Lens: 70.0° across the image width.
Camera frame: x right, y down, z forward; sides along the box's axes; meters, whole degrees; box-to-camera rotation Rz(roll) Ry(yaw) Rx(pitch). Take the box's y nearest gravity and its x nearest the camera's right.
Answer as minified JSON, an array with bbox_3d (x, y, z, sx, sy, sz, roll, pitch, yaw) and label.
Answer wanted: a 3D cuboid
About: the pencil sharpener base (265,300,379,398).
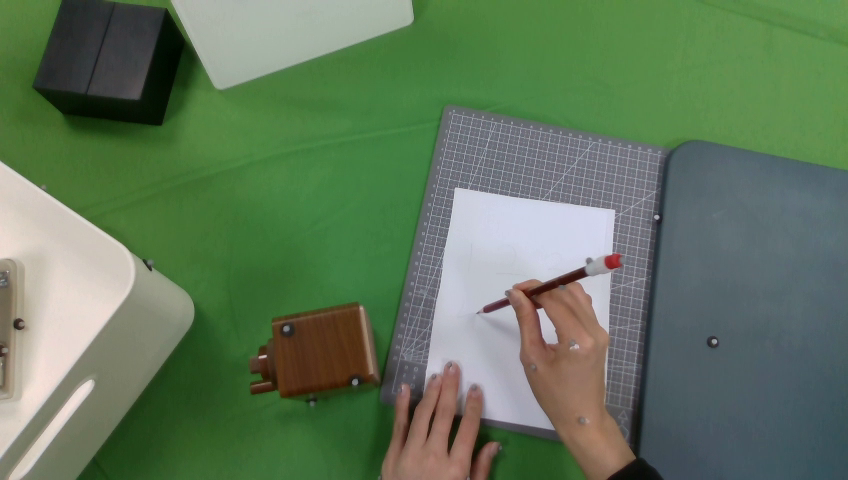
[{"bbox_3d":[-0.081,0.093,0.495,0.077,0.107,0.061,-10,75,-4],"label":"pencil sharpener base"}]

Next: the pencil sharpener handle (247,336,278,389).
[{"bbox_3d":[-0.130,0.102,0.478,0.031,0.068,0.035,-10,59,-4],"label":"pencil sharpener handle"}]

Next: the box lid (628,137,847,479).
[{"bbox_3d":[0.334,0.088,0.561,0.263,0.015,0.369,11,75,0],"label":"box lid"}]

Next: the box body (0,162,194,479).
[{"bbox_3d":[-0.403,0.044,0.468,0.363,0.161,0.253,32,76,7],"label":"box body"}]

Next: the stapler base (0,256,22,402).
[{"bbox_3d":[-0.378,0.076,0.526,0.041,0.024,0.130,-9,77,-2],"label":"stapler base"}]

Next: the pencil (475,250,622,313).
[{"bbox_3d":[0.086,0.038,0.473,0.012,0.194,0.012,8,70,-22],"label":"pencil"}]

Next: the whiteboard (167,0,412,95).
[{"bbox_3d":[-0.152,-0.323,0.535,0.217,0.308,0.142,-21,57,-7],"label":"whiteboard"}]
